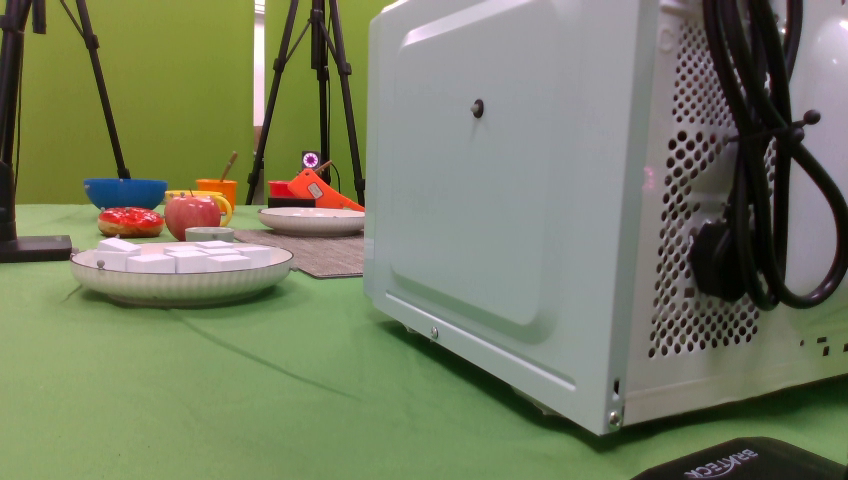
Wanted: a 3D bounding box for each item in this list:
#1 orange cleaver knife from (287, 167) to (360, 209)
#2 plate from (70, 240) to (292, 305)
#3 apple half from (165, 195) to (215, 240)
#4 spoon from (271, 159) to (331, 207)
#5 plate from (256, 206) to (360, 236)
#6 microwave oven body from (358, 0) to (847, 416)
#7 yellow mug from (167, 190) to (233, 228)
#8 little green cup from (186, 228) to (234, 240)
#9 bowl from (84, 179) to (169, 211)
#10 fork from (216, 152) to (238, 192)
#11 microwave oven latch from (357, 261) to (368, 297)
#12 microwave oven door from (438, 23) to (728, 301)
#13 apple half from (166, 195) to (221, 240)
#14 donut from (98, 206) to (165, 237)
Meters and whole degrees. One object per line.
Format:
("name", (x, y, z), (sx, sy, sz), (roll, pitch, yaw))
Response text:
("orange cleaver knife", (-0.209, -0.089, 1.383), (0.212, 0.077, 0.012), (31, 3, -15))
("plate", (-0.242, 0.031, 0.618), (0.208, 0.039, 0.207), (2, 8, 0))
("apple half", (-0.377, -0.038, 0.964), (0.082, 0.081, 0.032), (-4, 15, -39))
("spoon", (-0.307, -0.141, 1.513), (0.193, 0.021, 0.041), (-41, 4, 8))
("plate", (-0.202, -0.037, 1.120), (0.209, 0.038, 0.209), (2, 8, 0))
("microwave oven body", (0.211, -0.047, 0.474), (0.444, 0.260, 0.324), (-1, 7, -28))
("yellow mug", (-0.415, -0.057, 1.132), (0.130, 0.064, 0.100), (6, 8, 16))
("little green cup", (-0.284, 0.005, 0.805), (0.061, 0.038, 0.061), (2, 8, 0))
("bowl", (-0.584, -0.078, 1.194), (0.151, 0.077, 0.151), (3, 8, 0))
("fork", (-0.455, -0.132, 1.366), (0.028, 0.018, 0.207), (-2, -35, -37))
("microwave oven latch", (-0.019, 0.033, 0.530), (0.079, 0.029, 0.030), (-1, 7, -27))
("microwave oven door", (0.181, -0.072, 0.621), (0.358, 0.243, 0.039), (-2, 8, -29))
("apple half", (-0.352, -0.031, 0.935), (0.081, 0.074, 0.053), (1, 11, -40))
("donut", (-0.472, -0.028, 0.979), (0.099, 0.048, 0.099), (5, 8, 0))
